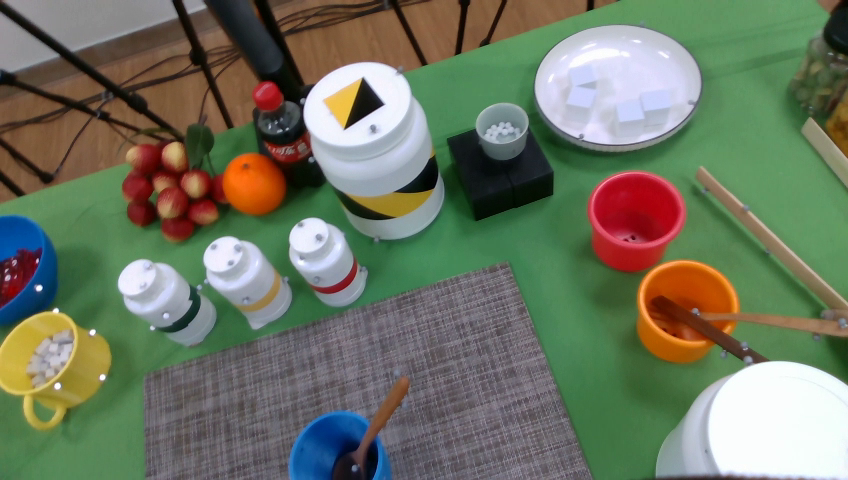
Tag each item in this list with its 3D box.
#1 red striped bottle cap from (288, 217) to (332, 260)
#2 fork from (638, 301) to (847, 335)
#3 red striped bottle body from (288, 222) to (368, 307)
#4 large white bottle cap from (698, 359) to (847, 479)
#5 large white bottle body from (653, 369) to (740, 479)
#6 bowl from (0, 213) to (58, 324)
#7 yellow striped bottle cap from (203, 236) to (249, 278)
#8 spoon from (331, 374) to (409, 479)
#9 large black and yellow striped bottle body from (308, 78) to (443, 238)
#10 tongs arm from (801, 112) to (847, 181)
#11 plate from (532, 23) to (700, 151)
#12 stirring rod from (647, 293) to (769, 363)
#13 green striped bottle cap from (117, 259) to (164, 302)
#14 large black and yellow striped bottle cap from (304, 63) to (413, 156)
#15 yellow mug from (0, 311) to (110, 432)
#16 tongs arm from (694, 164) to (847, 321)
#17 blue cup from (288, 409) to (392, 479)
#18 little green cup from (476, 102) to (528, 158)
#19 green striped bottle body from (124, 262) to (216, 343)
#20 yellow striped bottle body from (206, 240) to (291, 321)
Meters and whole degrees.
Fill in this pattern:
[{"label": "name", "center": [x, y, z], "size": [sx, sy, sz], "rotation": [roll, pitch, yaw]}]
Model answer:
[{"label": "red striped bottle cap", "center": [-0.121, -0.002, 0.638], "size": [0.044, 0.018, 0.044], "rotation": [-3, 58, 5]}, {"label": "fork", "center": [0.288, 0.073, 0.564], "size": [0.028, 0.019, 0.206], "rotation": [-50, 20, -22]}, {"label": "red striped bottle body", "center": [-0.110, 0.024, 0.683], "size": [0.063, 0.121, 0.062], "rotation": [-7, 59, 12]}, {"label": "large white bottle cap", "center": [0.250, 0.137, 0.415], "size": [0.114, 0.018, 0.114], "rotation": [-5, 60, 8]}, {"label": "large white bottle body", "center": [0.265, 0.179, 0.487], "size": [0.130, 0.186, 0.129], "rotation": [-5, 60, 8]}, {"label": "bowl", "center": [-0.528, 0.050, 0.771], "size": [0.151, 0.077, 0.150], "rotation": [-4, 60, 8]}, {"label": "yellow striped bottle cap", "center": [-0.211, 0.018, 0.645], "size": [0.044, 0.019, 0.044], "rotation": [-4, 61, 7]}, {"label": "spoon", "center": [-0.050, 0.179, 0.544], "size": [0.022, 0.195, 0.041], "rotation": [-16, 56, -37]}, {"label": "large black and yellow striped bottle body", "center": [-0.054, -0.098, 0.704], "size": [0.130, 0.186, 0.129], "rotation": [-5, 60, 8]}, {"label": "tongs arm", "center": [0.500, 0.014, 0.624], "size": [0.028, 0.028, 0.383], "rotation": [-14, 60, -4]}, {"label": "plate", "center": [0.245, -0.196, 0.788], "size": [0.209, 0.038, 0.207], "rotation": [-4, 61, 8]}, {"label": "stirring rod", "center": [0.260, 0.081, 0.571], "size": [0.014, 0.006, 0.175], "rotation": [-23, 16, -4]}, {"label": "green striped bottle cap", "center": [-0.303, 0.043, 0.647], "size": [0.044, 0.020, 0.044], "rotation": [-4, 59, 8]}, {"label": "large black and yellow striped bottle cap", "center": [-0.069, -0.138, 0.631], "size": [0.115, 0.019, 0.114], "rotation": [-5, 59, 9]}, {"label": "yellow mug", "center": [-0.432, 0.154, 0.701], "size": [0.100, 0.064, 0.129], "rotation": [-8, 60, 4]}, {"label": "tongs arm", "center": [0.426, 0.048, 0.618], "size": [0.051, 0.027, 0.381], "rotation": [-27, 60, -8]}, {"label": "blue cup", "center": [-0.070, 0.216, 0.574], "size": [0.092, 0.101, 0.092], "rotation": [-5, 59, 8]}, {"label": "little green cup", "center": [0.093, -0.129, 0.720], "size": [0.061, 0.039, 0.061], "rotation": [-4, 59, 7]}, {"label": "green striped bottle body", "center": [-0.293, 0.068, 0.692], "size": [0.063, 0.120, 0.062], "rotation": [-4, 60, 8]}, {"label": "yellow striped bottle body", "center": [-0.202, 0.043, 0.689], "size": [0.063, 0.121, 0.062], "rotation": [-5, 60, 9]}]
